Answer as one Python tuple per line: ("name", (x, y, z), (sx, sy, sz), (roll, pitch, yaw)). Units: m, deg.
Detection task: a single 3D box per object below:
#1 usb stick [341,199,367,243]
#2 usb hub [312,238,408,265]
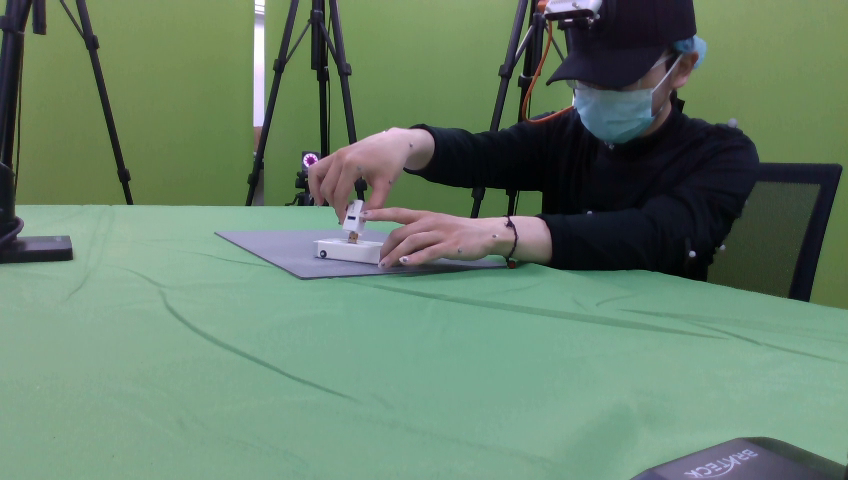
("usb stick", (-0.096, -0.024, 0.821), (0.021, 0.059, 0.027), (9, -7, 17))
("usb hub", (-0.088, 0.015, 0.829), (0.125, 0.025, 0.050), (5, 7, 22))
